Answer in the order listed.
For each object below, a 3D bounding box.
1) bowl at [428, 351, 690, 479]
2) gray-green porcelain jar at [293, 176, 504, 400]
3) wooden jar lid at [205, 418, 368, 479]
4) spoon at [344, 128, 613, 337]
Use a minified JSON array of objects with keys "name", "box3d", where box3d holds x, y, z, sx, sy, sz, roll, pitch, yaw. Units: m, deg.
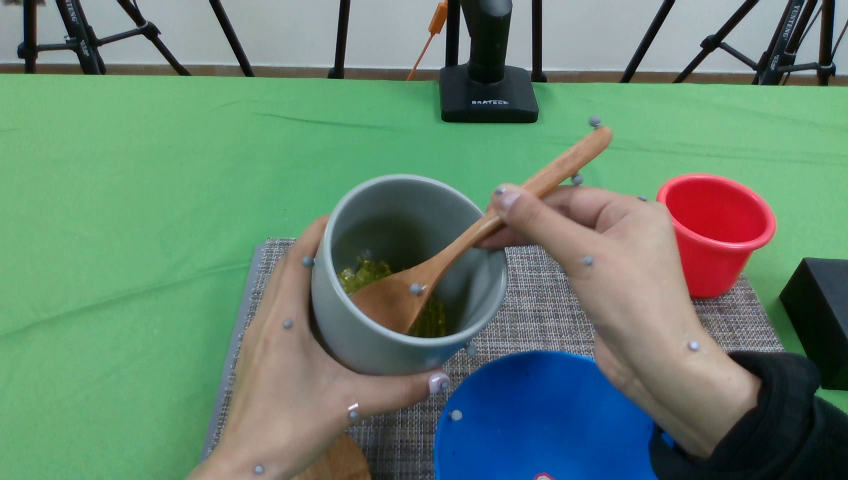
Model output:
[{"name":"bowl","box3d":[0.076,0.152,0.377,0.151,0.077,0.150,1,44,-1]},{"name":"gray-green porcelain jar","box3d":[-0.024,0.038,0.378,0.106,0.127,0.105,9,59,-16]},{"name":"wooden jar lid","box3d":[-0.090,0.169,0.394,0.108,0.021,0.107,1,43,-1]},{"name":"spoon","box3d":[0.025,0.001,0.339,0.194,0.022,0.041,-39,62,12]}]
